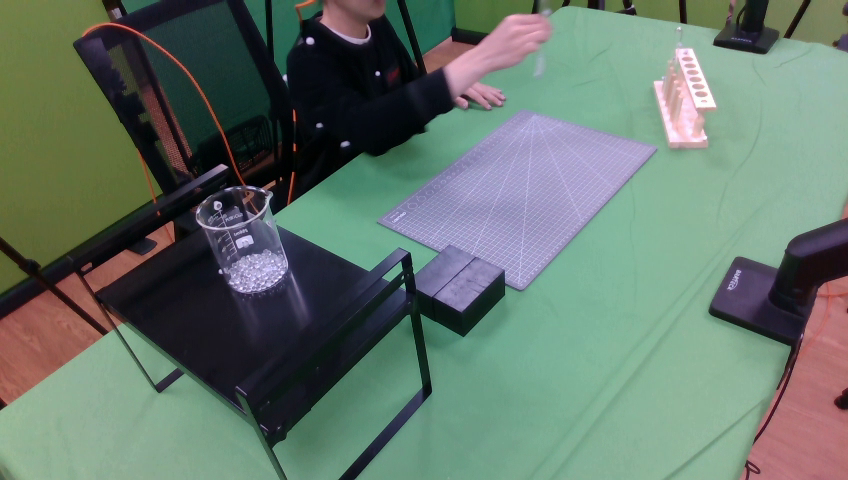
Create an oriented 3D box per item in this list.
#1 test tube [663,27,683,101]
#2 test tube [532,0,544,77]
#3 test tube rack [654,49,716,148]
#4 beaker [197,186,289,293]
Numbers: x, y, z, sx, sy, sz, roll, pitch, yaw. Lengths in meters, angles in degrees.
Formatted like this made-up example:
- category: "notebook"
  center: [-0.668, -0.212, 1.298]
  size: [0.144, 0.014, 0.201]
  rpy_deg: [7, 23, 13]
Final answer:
- category: "test tube"
  center: [0.486, -0.342, 1.181]
  size: [0.017, 0.151, 0.017]
  rpy_deg: [-4, 42, 4]
- category: "test tube"
  center: [0.193, -0.347, 1.022]
  size: [0.017, 0.151, 0.017]
  rpy_deg: [-3, 42, 3]
- category: "test tube rack"
  center: [0.502, -0.281, 1.176]
  size: [0.066, 0.085, 0.241]
  rpy_deg: [1, 41, 11]
- category: "beaker"
  center: [-0.192, 0.001, 0.666]
  size: [0.084, 0.101, 0.073]
  rpy_deg: [-32, 47, -27]
